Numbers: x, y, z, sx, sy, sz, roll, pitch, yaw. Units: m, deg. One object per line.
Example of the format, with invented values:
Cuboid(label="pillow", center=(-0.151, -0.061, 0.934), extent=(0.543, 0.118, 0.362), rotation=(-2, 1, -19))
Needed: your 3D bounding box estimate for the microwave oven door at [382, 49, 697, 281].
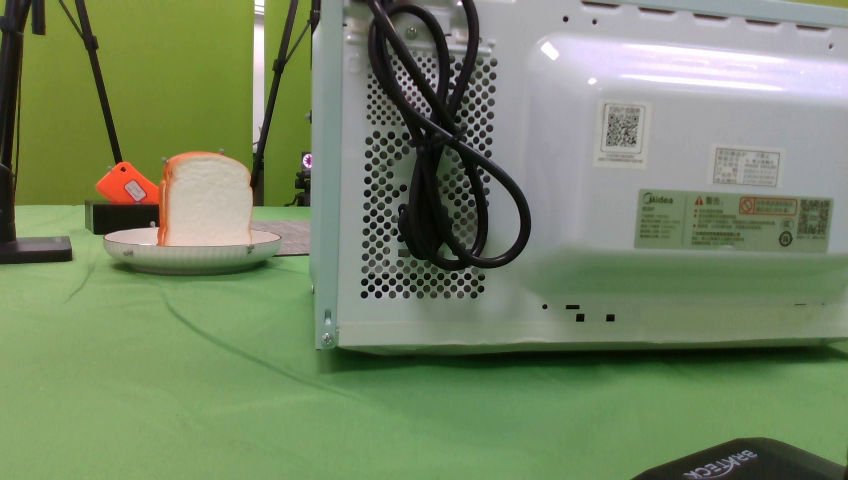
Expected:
Cuboid(label="microwave oven door", center=(0.135, -0.077, 0.685), extent=(0.357, 0.243, 0.039), rotation=(1, 8, -12))

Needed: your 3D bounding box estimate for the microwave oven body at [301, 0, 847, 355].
Cuboid(label="microwave oven body", center=(0.120, -0.053, 0.535), extent=(0.443, 0.260, 0.325), rotation=(2, 7, -11))

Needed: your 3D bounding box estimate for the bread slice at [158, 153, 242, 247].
Cuboid(label="bread slice", center=(-0.287, -0.045, 0.787), extent=(0.107, 0.134, 0.018), rotation=(2, 8, -35))

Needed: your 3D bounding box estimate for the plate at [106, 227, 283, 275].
Cuboid(label="plate", center=(-0.288, 0.013, 0.772), extent=(0.208, 0.039, 0.207), rotation=(2, 7, 0))

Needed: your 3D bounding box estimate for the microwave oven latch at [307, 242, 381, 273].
Cuboid(label="microwave oven latch", center=(-0.086, 0.019, 0.656), extent=(0.079, 0.029, 0.030), rotation=(2, 7, -10))

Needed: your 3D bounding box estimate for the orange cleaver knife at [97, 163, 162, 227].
Cuboid(label="orange cleaver knife", center=(-0.472, -0.062, 1.087), extent=(0.212, 0.077, 0.012), rotation=(33, -14, -36))
